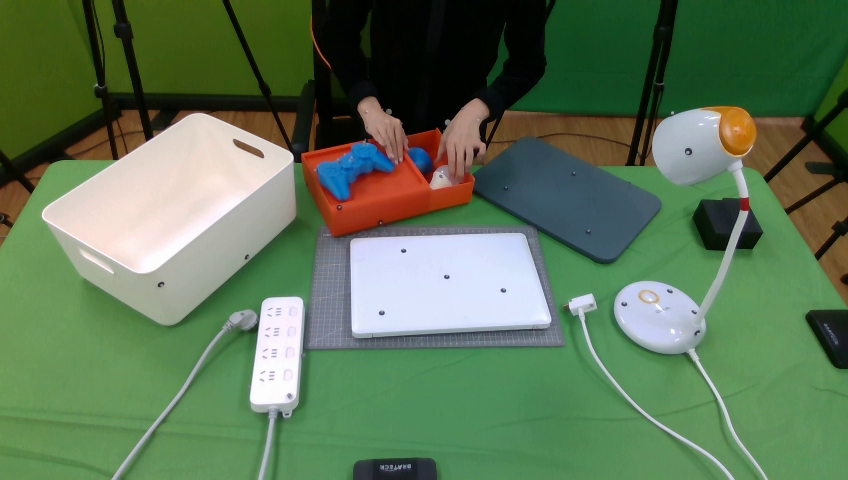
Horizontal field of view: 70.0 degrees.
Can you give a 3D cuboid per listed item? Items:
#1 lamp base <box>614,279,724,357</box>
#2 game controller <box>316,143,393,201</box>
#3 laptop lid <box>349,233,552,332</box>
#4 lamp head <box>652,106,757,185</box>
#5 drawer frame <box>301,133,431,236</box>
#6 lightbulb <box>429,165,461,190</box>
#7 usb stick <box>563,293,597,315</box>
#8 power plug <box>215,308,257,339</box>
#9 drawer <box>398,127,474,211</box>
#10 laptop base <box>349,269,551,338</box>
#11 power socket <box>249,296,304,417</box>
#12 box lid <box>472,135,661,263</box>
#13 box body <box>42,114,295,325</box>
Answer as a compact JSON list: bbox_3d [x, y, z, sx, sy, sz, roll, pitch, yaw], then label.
[{"bbox_3d":[0.436,0.090,1.035,0.161,0.181,0.178,-23,55,-23],"label":"lamp base"},{"bbox_3d":[-0.143,-0.146,1.212,0.096,0.052,0.155,32,50,29],"label":"game controller"},{"bbox_3d":[0.040,0.070,1.119,0.357,0.013,0.240,-1,44,-5],"label":"laptop lid"},{"bbox_3d":[0.410,-0.139,0.869,0.113,0.122,0.112,0,89,-19],"label":"lamp head"},{"bbox_3d":[-0.122,-0.120,1.260,0.214,0.083,0.200,-16,50,-20],"label":"drawer frame"},{"bbox_3d":[0.033,-0.115,1.287,0.059,0.060,0.107,35,68,26],"label":"lightbulb"},{"bbox_3d":[0.280,0.118,1.093,0.059,0.021,0.027,-18,35,25],"label":"usb stick"},{"bbox_3d":[-0.317,0.143,1.024,0.072,0.053,0.035,-32,58,-9],"label":"power plug"},{"bbox_3d":[-0.029,-0.144,1.295,0.212,0.073,0.193,-15,50,-19],"label":"drawer"},{"bbox_3d":[0.039,0.080,1.125,0.355,0.023,0.234,-2,43,-6],"label":"laptop base"},{"bbox_3d":[-0.239,0.182,0.996,0.072,0.033,0.225,-2,47,-5],"label":"power socket"},{"bbox_3d":[0.306,-0.102,1.327,0.370,0.015,0.263,32,52,25],"label":"box lid"},{"bbox_3d":[-0.437,-0.046,1.110,0.253,0.161,0.363,24,49,19],"label":"box body"}]
